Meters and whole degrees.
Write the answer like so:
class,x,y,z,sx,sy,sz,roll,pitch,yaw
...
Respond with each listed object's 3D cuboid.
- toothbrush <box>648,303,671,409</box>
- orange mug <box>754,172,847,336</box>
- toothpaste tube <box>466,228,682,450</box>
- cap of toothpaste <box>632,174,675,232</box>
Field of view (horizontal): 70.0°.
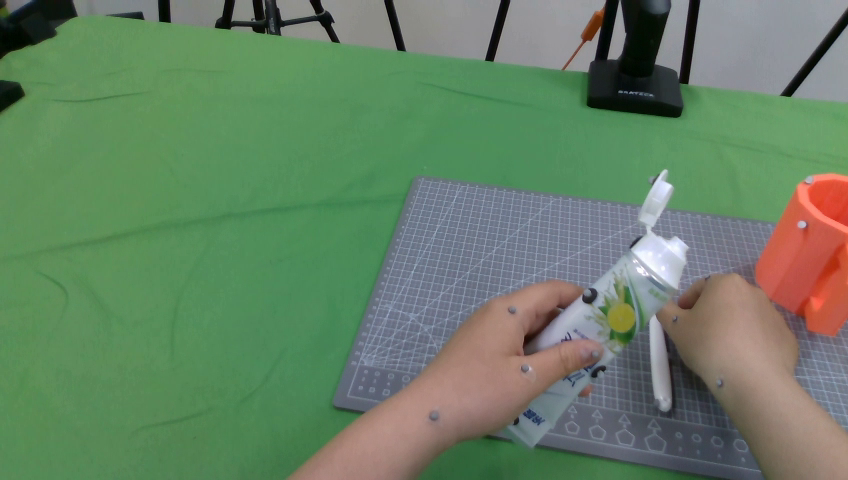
class,x,y,z,sx,sy,sz,roll,pitch,yaw
toothbrush,0.196,0.063,0.513,0.014,0.017,0.180,16,45,0
orange mug,0.342,0.015,0.510,0.083,0.101,0.125,14,40,14
toothpaste tube,0.095,0.058,0.372,0.055,0.165,0.034,39,16,5
cap of toothpaste,0.136,-0.022,0.356,0.011,0.037,0.037,34,51,31
